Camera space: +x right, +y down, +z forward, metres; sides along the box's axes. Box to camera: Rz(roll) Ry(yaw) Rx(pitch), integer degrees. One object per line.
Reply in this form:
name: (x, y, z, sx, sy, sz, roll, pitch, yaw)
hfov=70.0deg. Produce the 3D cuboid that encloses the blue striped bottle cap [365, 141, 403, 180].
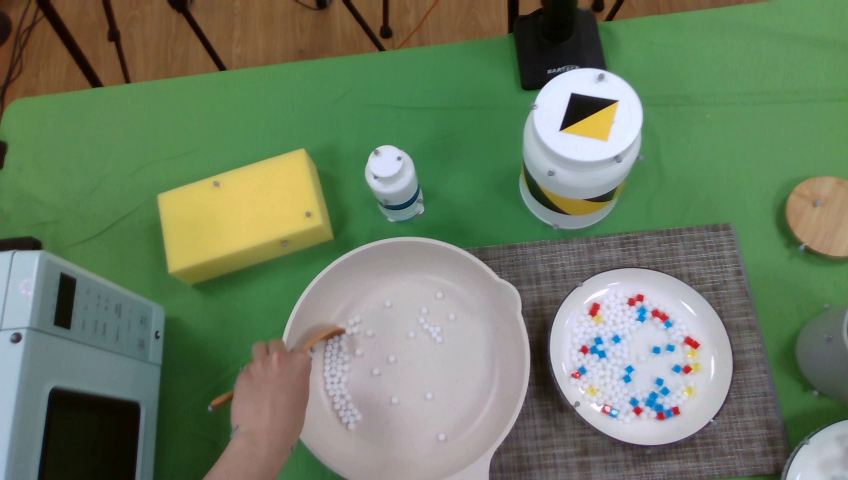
blue striped bottle cap: (-0.049, -0.097, 0.730, 0.044, 0.021, 0.044, -3, 68, 7)

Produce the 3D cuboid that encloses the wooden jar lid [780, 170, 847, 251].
wooden jar lid: (0.502, -0.036, 0.759, 0.108, 0.021, 0.107, -2, 73, 6)

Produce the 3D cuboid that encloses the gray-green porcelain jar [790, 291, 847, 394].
gray-green porcelain jar: (0.473, 0.110, 0.657, 0.106, 0.127, 0.105, -2, 71, 6)

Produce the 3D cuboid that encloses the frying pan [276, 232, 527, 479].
frying pan: (0.020, 0.217, 0.678, 0.307, 0.103, 0.483, -28, 63, -3)

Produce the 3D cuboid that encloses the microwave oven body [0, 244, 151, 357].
microwave oven body: (-0.501, 0.259, 0.637, 0.326, 0.262, 0.438, -5, 72, 4)

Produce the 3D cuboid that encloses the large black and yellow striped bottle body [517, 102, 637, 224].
large black and yellow striped bottle body: (0.180, -0.109, 0.732, 0.130, 0.185, 0.130, -2, 71, 6)

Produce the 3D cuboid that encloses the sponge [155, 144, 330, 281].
sponge: (-0.243, -0.036, 0.817, 0.207, 0.061, 0.117, -19, 71, -1)

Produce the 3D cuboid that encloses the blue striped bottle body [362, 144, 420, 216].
blue striped bottle body: (-0.042, -0.080, 0.779, 0.063, 0.121, 0.062, -2, 71, 6)

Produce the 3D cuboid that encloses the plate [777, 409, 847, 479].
plate: (0.482, 0.286, 0.645, 0.207, 0.039, 0.206, -2, 71, 6)

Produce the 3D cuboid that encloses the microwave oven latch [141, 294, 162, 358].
microwave oven latch: (-0.355, 0.110, 0.773, 0.030, 0.030, 0.078, -4, 72, 4)

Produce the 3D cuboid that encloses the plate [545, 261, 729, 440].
plate: (0.247, 0.128, 0.718, 0.209, 0.038, 0.208, -2, 72, 6)

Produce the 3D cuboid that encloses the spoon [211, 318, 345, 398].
spoon: (-0.162, 0.133, 0.699, 0.041, 0.194, 0.021, -31, 91, 40)

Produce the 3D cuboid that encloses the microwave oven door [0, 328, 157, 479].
microwave oven door: (-0.356, 0.284, 0.607, 0.039, 0.245, 0.353, -6, 71, 4)

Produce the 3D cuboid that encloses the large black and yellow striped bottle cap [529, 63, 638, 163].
large black and yellow striped bottle cap: (0.172, -0.138, 0.653, 0.115, 0.019, 0.114, -2, 73, 5)
